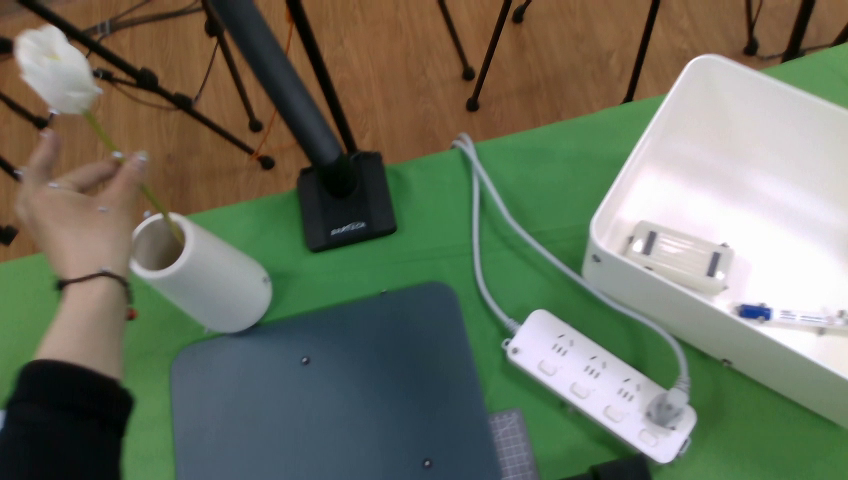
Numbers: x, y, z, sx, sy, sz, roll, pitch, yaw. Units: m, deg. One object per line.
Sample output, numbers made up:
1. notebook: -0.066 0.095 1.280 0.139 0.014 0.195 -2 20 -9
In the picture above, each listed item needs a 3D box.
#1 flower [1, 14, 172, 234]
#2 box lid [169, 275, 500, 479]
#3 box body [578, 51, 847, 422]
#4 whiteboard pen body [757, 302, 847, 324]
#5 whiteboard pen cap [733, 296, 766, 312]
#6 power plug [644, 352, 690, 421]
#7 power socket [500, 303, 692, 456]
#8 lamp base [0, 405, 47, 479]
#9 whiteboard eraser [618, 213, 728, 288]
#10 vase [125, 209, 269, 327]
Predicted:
1. flower: -0.257 -0.047 0.549 0.044 0.364 0.038 24 64 13
2. box lid: -0.114 0.201 0.714 0.371 0.015 0.261 -15 69 1
3. box body: 0.376 0.002 0.648 0.362 0.161 0.253 29 76 16
4. whiteboard pen body: 0.430 0.082 0.684 0.140 0.017 0.017 5 71 11
5. whiteboard pen cap: 0.373 0.074 0.693 0.033 0.018 0.018 6 71 10
6. power plug: 0.267 0.162 0.649 0.072 0.053 0.035 -42 69 -13
7. power socket: 0.192 0.154 0.685 0.225 0.033 0.072 34 77 17
8. lamp base: -0.547 0.243 0.657 0.160 0.181 0.178 -43 69 -10
9. whiteboard eraser: 0.291 0.012 0.710 0.112 0.042 0.055 20 76 11
10. vase: -0.251 0.034 0.690 0.098 0.201 0.097 -2 68 5
